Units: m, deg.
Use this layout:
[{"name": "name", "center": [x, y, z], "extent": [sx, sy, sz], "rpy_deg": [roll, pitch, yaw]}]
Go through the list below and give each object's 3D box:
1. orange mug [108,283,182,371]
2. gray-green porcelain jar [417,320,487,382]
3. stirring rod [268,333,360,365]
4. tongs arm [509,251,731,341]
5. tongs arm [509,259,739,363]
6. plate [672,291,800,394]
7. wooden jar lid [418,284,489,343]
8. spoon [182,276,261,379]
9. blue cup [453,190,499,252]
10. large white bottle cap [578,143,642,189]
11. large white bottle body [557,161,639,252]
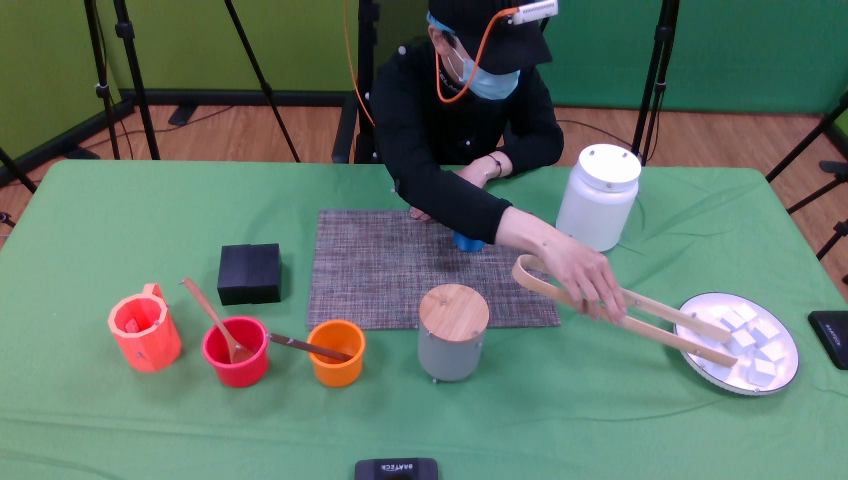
[{"name": "orange mug", "center": [-0.445, 0.134, 0.982], "extent": [0.083, 0.101, 0.125], "rpy_deg": [-1, 50, -5]}, {"name": "gray-green porcelain jar", "center": [0.042, 0.158, 0.975], "extent": [0.106, 0.127, 0.105], "rpy_deg": [2, 46, -2]}, {"name": "stirring rod", "center": [-0.167, 0.170, 0.941], "extent": [0.177, 0.006, 0.014], "rpy_deg": [26, 26, -40]}, {"name": "tongs arm", "center": [0.323, 0.098, 0.989], "extent": [0.385, 0.026, 0.050], "rpy_deg": [22, 37, 0]}, {"name": "tongs arm", "center": [0.317, 0.116, 0.962], "extent": [0.388, 0.028, 0.028], "rpy_deg": [22, 41, -1]}, {"name": "plate", "center": [0.533, 0.179, 1.050], "extent": [0.208, 0.039, 0.206], "rpy_deg": [2, 46, -2]}, {"name": "wooden jar lid", "center": [0.045, 0.114, 0.931], "extent": [0.108, 0.021, 0.107], "rpy_deg": [2, 49, -2]}, {"name": "spoon", "center": [-0.320, 0.137, 0.957], "extent": [0.041, 0.021, 0.194], "rpy_deg": [-37, 102, -32]}, {"name": "blue cup", "center": [0.094, -0.032, 1.173], "extent": [0.093, 0.101, 0.092], "rpy_deg": [3, 46, -3]}, {"name": "large white bottle cap", "center": [0.344, -0.139, 1.123], "extent": [0.115, 0.018, 0.114], "rpy_deg": [2, 46, -2]}, {"name": "large white bottle body", "center": [0.340, -0.080, 1.185], "extent": [0.131, 0.185, 0.130], "rpy_deg": [2, 46, -2]}]
